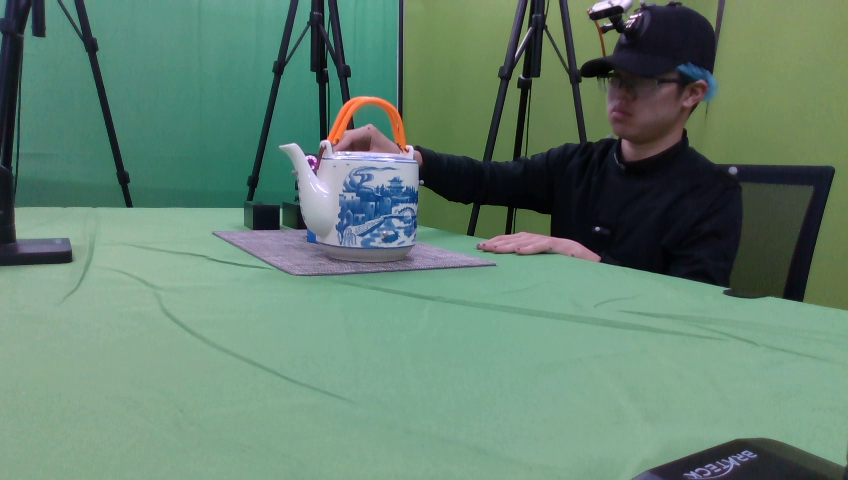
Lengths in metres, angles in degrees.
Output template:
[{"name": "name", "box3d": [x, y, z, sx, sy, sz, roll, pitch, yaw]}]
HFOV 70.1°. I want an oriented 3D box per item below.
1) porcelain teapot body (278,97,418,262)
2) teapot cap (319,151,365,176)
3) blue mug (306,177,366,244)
[{"name": "porcelain teapot body", "box3d": [-0.104, -0.086, 0.842, 0.206, 0.225, 0.144, -4, 10, -38]}, {"name": "teapot cap", "box3d": [-0.147, -0.139, 1.088, 0.085, 0.044, 0.085, 5, 3, 0]}, {"name": "blue mug", "box3d": [-0.144, -0.052, 1.027, 0.082, 0.106, 0.117, 9, 10, 42]}]
